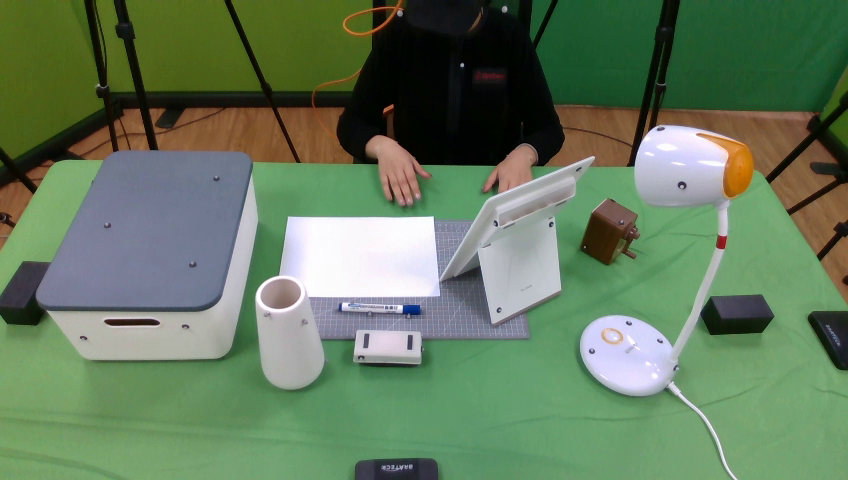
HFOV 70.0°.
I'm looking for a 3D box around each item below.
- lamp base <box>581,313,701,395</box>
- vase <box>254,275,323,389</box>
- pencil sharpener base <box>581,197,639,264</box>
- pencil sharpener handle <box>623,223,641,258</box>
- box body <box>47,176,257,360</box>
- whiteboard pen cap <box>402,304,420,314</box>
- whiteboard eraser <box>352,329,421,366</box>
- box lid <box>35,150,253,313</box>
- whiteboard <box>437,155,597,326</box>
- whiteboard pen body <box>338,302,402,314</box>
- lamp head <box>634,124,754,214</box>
[{"bbox_3d":[0.361,0.144,0.973,0.178,0.181,0.160,34,53,23],"label":"lamp base"},{"bbox_3d":[-0.209,0.142,0.921,0.098,0.201,0.097,1,46,-1],"label":"vase"},{"bbox_3d":[0.362,-0.016,1.178,0.076,0.107,0.061,35,53,26],"label":"pencil sharpener base"},{"bbox_3d":[0.399,0.002,1.146,0.030,0.068,0.036,35,45,26],"label":"pencil sharpener handle"},{"bbox_3d":[-0.441,0.022,1.046,0.254,0.161,0.361,0,46,-5],"label":"box body"},{"bbox_3d":[-0.024,0.123,1.076,0.033,0.018,0.018,1,46,1],"label":"whiteboard pen cap"},{"bbox_3d":[-0.061,0.179,1.005,0.113,0.042,0.055,3,48,-3],"label":"whiteboard eraser"},{"bbox_3d":[-0.437,-0.032,0.994,0.263,0.015,0.369,0,46,-5],"label":"box lid"},{"bbox_3d":[0.180,0.023,1.029,0.217,0.306,0.143,-21,71,-23],"label":"whiteboard"},{"bbox_3d":[-0.083,0.121,1.074,0.141,0.017,0.017,3,46,-2],"label":"whiteboard pen body"},{"bbox_3d":[0.351,-0.089,0.776,0.112,0.113,0.122,-30,30,-28],"label":"lamp head"}]
